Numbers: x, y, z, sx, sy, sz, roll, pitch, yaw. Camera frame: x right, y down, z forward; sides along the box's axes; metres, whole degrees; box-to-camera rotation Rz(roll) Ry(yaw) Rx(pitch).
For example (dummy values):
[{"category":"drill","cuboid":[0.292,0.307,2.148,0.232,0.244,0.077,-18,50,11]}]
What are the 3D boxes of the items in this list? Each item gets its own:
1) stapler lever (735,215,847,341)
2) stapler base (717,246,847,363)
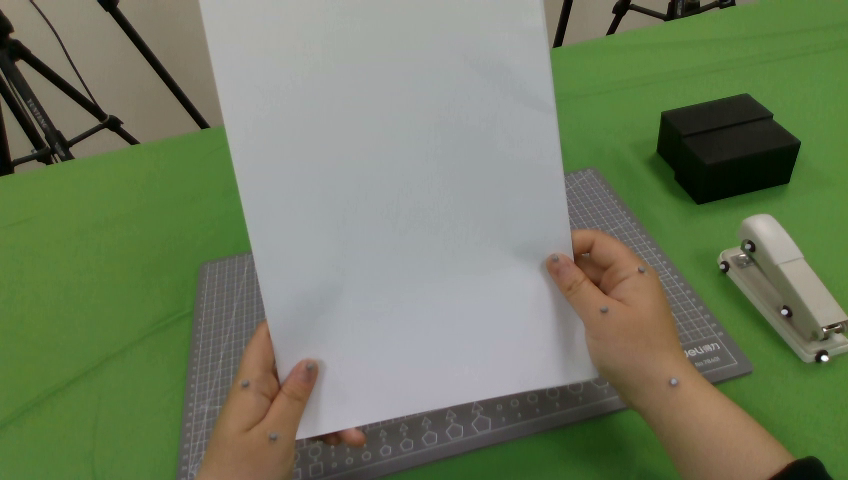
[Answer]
[{"category":"stapler lever","cuboid":[0.295,0.026,0.489,0.027,0.040,0.116,-16,43,-3]},{"category":"stapler base","cuboid":[0.298,0.043,0.507,0.041,0.025,0.129,-16,43,-3]}]
